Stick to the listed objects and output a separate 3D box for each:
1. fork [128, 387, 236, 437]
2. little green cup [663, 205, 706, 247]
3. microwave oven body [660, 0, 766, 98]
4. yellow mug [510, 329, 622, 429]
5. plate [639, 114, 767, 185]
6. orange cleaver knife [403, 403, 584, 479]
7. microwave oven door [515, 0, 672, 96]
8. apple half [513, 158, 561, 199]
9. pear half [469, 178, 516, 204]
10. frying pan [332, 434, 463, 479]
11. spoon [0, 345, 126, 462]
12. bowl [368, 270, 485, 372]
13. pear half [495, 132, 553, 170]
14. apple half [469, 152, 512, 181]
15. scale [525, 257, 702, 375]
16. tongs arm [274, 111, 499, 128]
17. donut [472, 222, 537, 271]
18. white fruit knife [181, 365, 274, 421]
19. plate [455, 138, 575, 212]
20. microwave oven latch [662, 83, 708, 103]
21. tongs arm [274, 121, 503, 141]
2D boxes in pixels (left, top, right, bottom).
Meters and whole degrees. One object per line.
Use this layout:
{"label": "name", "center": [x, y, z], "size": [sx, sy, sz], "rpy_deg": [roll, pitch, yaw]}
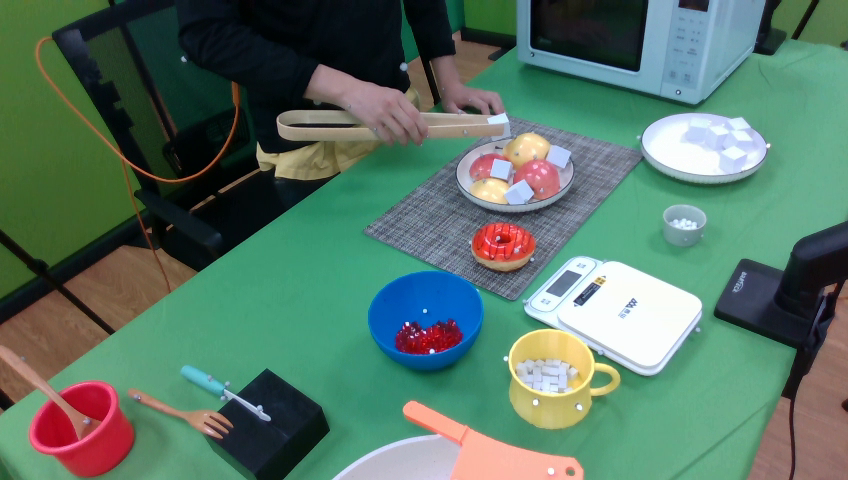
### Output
{"label": "fork", "center": [-0.305, 0.207, 0.744], "size": [0.206, 0.019, 0.028], "rpy_deg": [3, 40, 36]}
{"label": "little green cup", "center": [0.396, -0.020, 0.926], "size": [0.061, 0.039, 0.061], "rpy_deg": [-4, 40, 4]}
{"label": "microwave oven body", "center": [0.472, -0.513, 1.317], "size": [0.438, 0.261, 0.327], "rpy_deg": [26, 51, 34]}
{"label": "yellow mug", "center": [0.168, 0.164, 0.721], "size": [0.130, 0.064, 0.099], "rpy_deg": [0, 40, 8]}
{"label": "plate", "center": [0.489, -0.157, 1.074], "size": [0.207, 0.039, 0.206], "rpy_deg": [-4, 40, 4]}
{"label": "orange cleaver knife", "center": [0.062, 0.223, 0.610], "size": [0.210, 0.012, 0.077], "rpy_deg": [15, 47, 25]}
{"label": "microwave oven door", "center": [0.343, -0.454, 1.259], "size": [0.353, 0.245, 0.039], "rpy_deg": [26, 51, 33]}
{"label": "apple half", "center": [0.193, -0.111, 1.031], "size": [0.080, 0.053, 0.075], "rpy_deg": [11, 41, 26]}
{"label": "pear half", "center": [0.115, -0.090, 1.035], "size": [0.087, 0.031, 0.071], "rpy_deg": [28, 38, 32]}
{"label": "frying pan", "center": [-0.089, 0.306, 0.564], "size": [0.487, 0.103, 0.306], "rpy_deg": [10, 41, 7]}
{"label": "spoon", "center": [-0.434, 0.192, 0.720], "size": [0.194, 0.021, 0.042], "rpy_deg": [47, 53, -7]}
{"label": "bowl", "center": [0.007, 0.119, 0.791], "size": [0.151, 0.077, 0.150], "rpy_deg": [-5, 39, 4]}
{"label": "pear half", "center": [0.174, -0.168, 1.094], "size": [0.109, 0.056, 0.076], "rpy_deg": [16, 54, 30]}
{"label": "apple half", "center": [0.121, -0.139, 1.088], "size": [0.081, 0.033, 0.081], "rpy_deg": [-1, 44, 1]}
{"label": "scale", "center": [0.254, 0.091, 0.821], "size": [0.199, 0.032, 0.149], "rpy_deg": [28, 51, 35]}
{"label": "tongs arm", "center": [-0.060, -0.201, 1.047], "size": [0.385, 0.026, 0.050], "rpy_deg": [2, 44, -2]}
{"label": "donut", "center": [0.123, 0.008, 0.923], "size": [0.099, 0.048, 0.098], "rpy_deg": [-3, 38, 3]}
{"label": "white fruit knife", "center": [-0.245, 0.188, 0.747], "size": [0.205, 0.027, 0.016], "rpy_deg": [9, 41, 40]}
{"label": "plate", "center": [0.159, -0.111, 1.063], "size": [0.209, 0.038, 0.208], "rpy_deg": [-4, 40, 4]}
{"label": "microwave oven latch", "center": [0.518, -0.296, 1.204], "size": [0.078, 0.029, 0.030], "rpy_deg": [28, 52, 35]}
{"label": "tongs arm", "center": [-0.058, -0.184, 1.029], "size": [0.388, 0.028, 0.028], "rpy_deg": [-1, 48, -5]}
